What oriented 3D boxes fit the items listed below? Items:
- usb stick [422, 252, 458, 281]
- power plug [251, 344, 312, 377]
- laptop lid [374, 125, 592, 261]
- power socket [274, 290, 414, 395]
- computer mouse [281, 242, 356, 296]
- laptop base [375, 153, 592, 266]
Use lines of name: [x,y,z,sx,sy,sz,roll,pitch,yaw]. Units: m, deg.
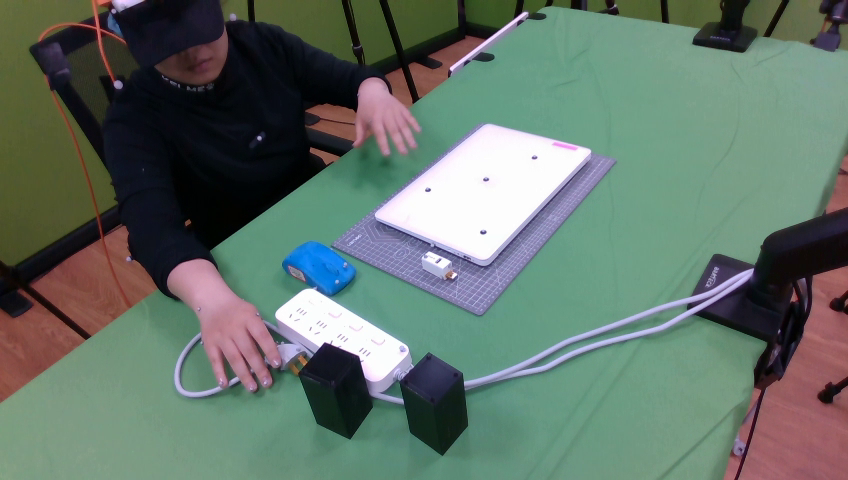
usb stick: [0.025,0.042,0.908,0.058,0.027,0.021,27,49,31]
power plug: [-0.185,0.170,0.802,0.052,0.035,0.072,44,95,16]
laptop lid: [0.109,-0.101,1.057,0.239,0.013,0.358,23,48,34]
power socket: [-0.114,0.134,0.820,0.225,0.033,0.072,25,49,33]
computer mouse: [-0.164,0.041,0.934,0.116,0.041,0.063,27,48,28]
laptop base: [0.112,-0.091,1.063,0.233,0.023,0.355,21,47,34]
